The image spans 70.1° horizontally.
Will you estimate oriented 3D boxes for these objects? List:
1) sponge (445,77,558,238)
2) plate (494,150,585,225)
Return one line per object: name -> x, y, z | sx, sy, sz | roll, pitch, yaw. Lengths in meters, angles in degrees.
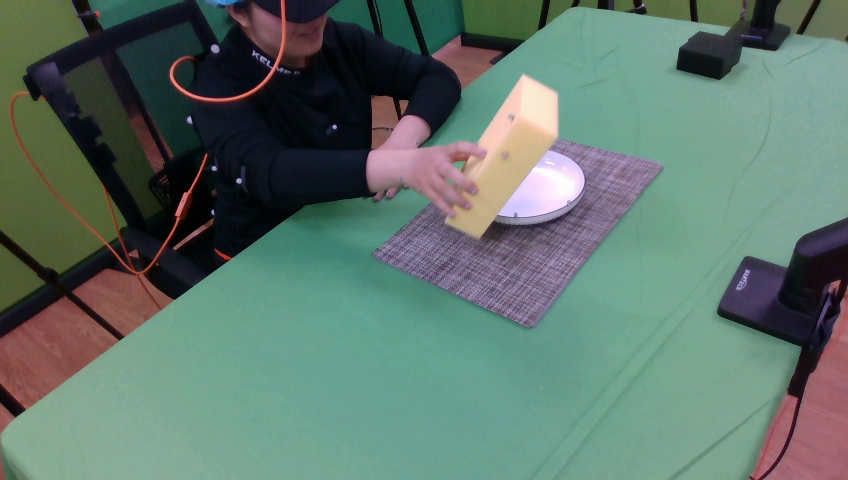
sponge -> 0.111, -0.116, 0.877 | 0.061, 0.206, 0.118 | 26, 39, -11
plate -> 0.170, -0.089, 1.041 | 0.207, 0.039, 0.206 | -5, 40, 5
